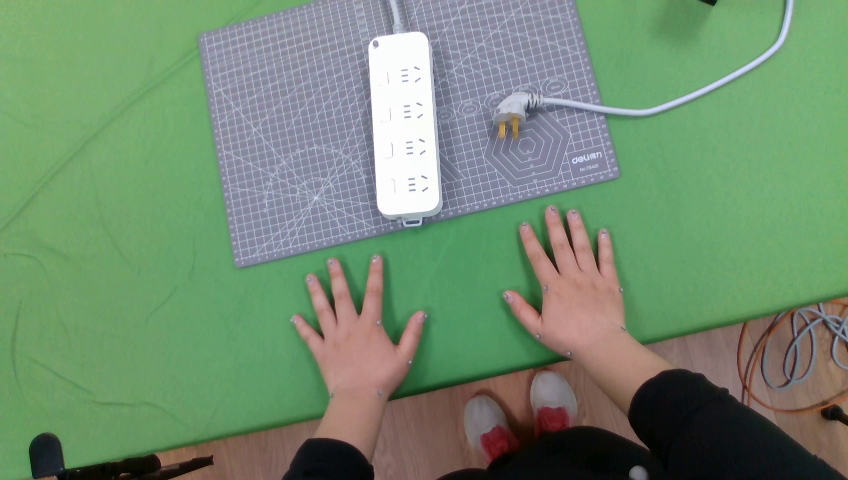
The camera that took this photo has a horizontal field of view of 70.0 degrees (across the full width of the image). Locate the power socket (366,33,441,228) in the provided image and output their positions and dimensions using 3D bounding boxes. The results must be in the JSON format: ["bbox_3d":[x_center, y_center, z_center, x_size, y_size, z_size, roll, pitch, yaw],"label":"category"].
[{"bbox_3d":[-0.024,-0.128,0.687,0.072,0.033,0.226,-5,81,6],"label":"power socket"}]

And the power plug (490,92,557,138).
[{"bbox_3d":[0.108,-0.138,0.664,0.072,0.035,0.052,-4,72,18],"label":"power plug"}]
